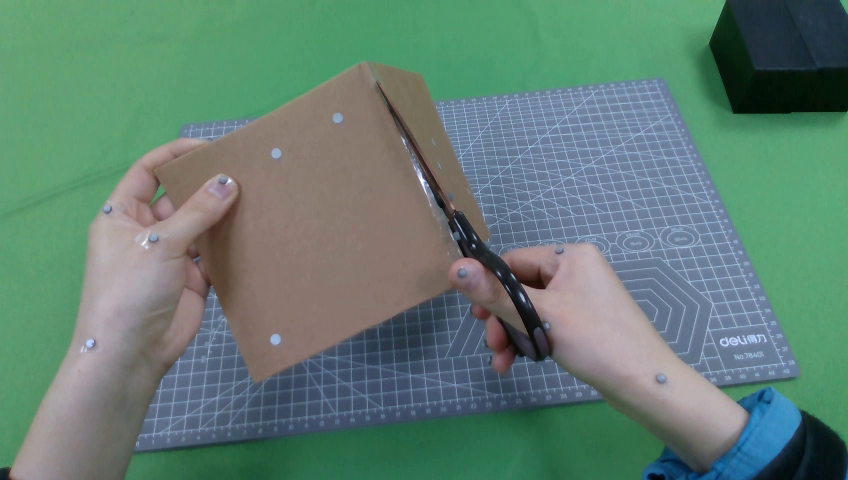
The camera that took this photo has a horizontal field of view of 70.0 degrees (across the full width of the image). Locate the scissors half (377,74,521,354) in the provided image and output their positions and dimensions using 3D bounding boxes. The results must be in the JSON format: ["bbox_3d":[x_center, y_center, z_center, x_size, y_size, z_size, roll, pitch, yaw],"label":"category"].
[{"bbox_3d":[0.015,-0.014,0.341,0.013,0.040,0.175,-28,98,-4],"label":"scissors half"}]

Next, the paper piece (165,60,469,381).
[{"bbox_3d":[-0.064,-0.011,0.335,0.138,0.009,0.135,-26,79,10],"label":"paper piece"}]

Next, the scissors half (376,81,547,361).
[{"bbox_3d":[0.016,-0.016,0.320,0.013,0.040,0.174,-28,74,-9],"label":"scissors half"}]

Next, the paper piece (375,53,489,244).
[{"bbox_3d":[0.014,-0.056,0.404,0.004,0.135,0.135,-24,96,13],"label":"paper piece"}]
